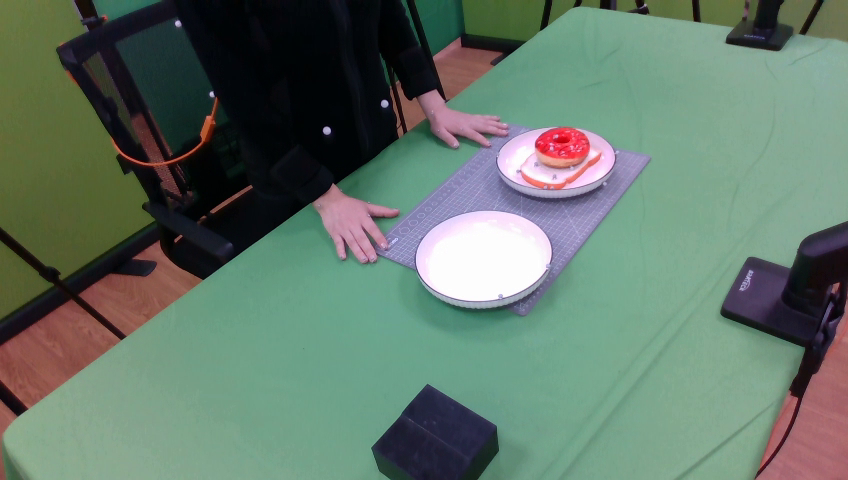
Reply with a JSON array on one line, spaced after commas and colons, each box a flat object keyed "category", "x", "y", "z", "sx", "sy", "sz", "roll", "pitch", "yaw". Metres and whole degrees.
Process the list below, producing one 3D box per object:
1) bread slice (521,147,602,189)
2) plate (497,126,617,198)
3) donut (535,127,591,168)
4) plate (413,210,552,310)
[{"category": "bread slice", "x": 0.242, "y": -0.137, "z": 1.085, "sx": 0.106, "sy": 0.018, "sz": 0.134, "roll": 23, "pitch": 51, "yaw": 34}, {"category": "plate", "x": 0.236, "y": -0.136, "z": 1.085, "sx": 0.209, "sy": 0.038, "sz": 0.208, "roll": -5, "pitch": 40, "yaw": 5}, {"category": "donut", "x": 0.247, "y": -0.165, "z": 1.073, "sx": 0.099, "sy": 0.048, "sz": 0.098, "roll": -5, "pitch": 39, "yaw": 5}, {"category": "plate", "x": 0.088, "y": 0.033, "z": 0.914, "sx": 0.207, "sy": 0.039, "sz": 0.206, "roll": -5, "pitch": 40, "yaw": 5}]
